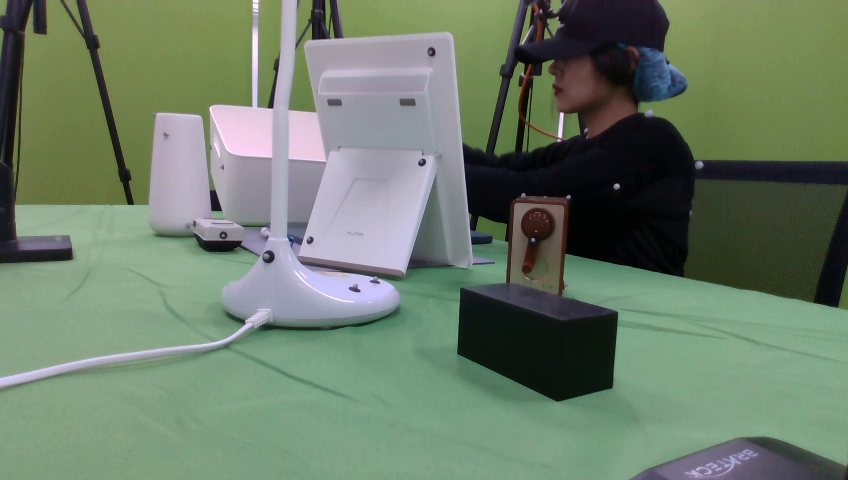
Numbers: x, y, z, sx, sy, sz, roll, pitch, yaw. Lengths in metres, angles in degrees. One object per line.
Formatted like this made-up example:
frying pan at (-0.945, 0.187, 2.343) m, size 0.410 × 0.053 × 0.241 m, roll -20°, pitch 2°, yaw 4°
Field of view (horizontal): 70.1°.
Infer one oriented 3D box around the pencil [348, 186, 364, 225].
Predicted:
pencil at (-0.150, -0.081, 1.350) m, size 0.012 × 0.012 × 0.194 m, roll 3°, pitch 29°, yaw 3°

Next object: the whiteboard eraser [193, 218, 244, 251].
whiteboard eraser at (-0.307, -0.009, 0.900) m, size 0.056 × 0.042 × 0.112 m, roll -4°, pitch 10°, yaw -28°

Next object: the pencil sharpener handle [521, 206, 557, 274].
pencil sharpener handle at (0.112, 0.000, 0.611) m, size 0.036 × 0.067 × 0.031 m, roll 12°, pitch 10°, yaw 11°

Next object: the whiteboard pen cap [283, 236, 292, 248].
whiteboard pen cap at (-0.211, 0.003, 0.913) m, size 0.018 × 0.018 × 0.033 m, roll -2°, pitch 6°, yaw -28°

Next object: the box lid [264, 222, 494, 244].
box lid at (-0.081, -0.013, 1.117) m, size 0.373 × 0.015 × 0.262 m, roll -2°, pitch 9°, yaw -32°

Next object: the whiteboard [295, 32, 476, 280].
whiteboard at (-0.076, -0.084, 0.747) m, size 0.216 × 0.305 × 0.144 m, roll 7°, pitch 28°, yaw 29°

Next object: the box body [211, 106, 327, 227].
box body at (-0.253, -0.153, 1.283) m, size 0.366 × 0.160 × 0.253 m, roll -2°, pitch 33°, yaw -27°

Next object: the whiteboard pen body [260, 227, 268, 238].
whiteboard pen body at (-0.239, -0.005, 0.964) m, size 0.017 × 0.017 × 0.140 m, roll -2°, pitch 9°, yaw -28°

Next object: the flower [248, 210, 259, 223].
flower at (-0.248, -0.087, 1.306) m, size 0.038 × 0.044 × 0.363 m, roll 51°, pitch 33°, yaw 11°

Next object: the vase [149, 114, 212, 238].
vase at (-0.405, -0.106, 1.006) m, size 0.098 × 0.200 × 0.098 m, roll 2°, pitch 6°, yaw 0°

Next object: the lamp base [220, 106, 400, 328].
lamp base at (-0.101, -0.023, 0.531) m, size 0.160 × 0.180 × 0.179 m, roll 4°, pitch 10°, yaw 10°

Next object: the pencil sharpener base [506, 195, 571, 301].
pencil sharpener base at (0.126, 0.007, 0.662) m, size 0.061 × 0.107 × 0.077 m, roll 4°, pitch 8°, yaw 13°
